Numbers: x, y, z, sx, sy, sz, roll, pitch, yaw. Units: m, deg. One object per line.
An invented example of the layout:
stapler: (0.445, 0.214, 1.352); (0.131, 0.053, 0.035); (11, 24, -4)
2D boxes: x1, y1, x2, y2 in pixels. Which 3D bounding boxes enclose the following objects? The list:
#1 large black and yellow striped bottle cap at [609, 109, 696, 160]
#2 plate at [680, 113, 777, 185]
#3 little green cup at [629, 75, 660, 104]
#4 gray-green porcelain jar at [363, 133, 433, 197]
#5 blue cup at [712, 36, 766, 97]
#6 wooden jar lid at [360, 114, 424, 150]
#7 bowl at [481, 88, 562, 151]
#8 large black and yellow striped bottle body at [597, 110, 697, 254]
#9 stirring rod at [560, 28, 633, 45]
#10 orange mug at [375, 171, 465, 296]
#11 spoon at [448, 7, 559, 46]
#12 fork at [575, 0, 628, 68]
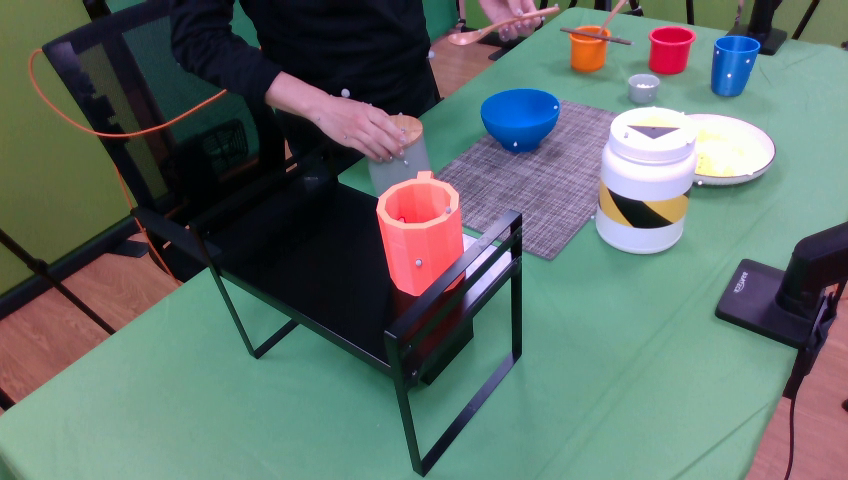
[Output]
large black and yellow striped bottle cap: (0.320, -0.150, 0.849); (0.115, 0.019, 0.114); (-4, 39, 3)
plate: (0.506, -0.158, 1.073); (0.209, 0.038, 0.208); (-5, 40, 4)
little green cup: (0.458, -0.314, 1.260); (0.061, 0.039, 0.061); (-4, 40, 4)
gray-green porcelain jar: (-0.042, -0.128, 1.052); (0.106, 0.127, 0.105); (-8, 38, 7)
blue cup: (0.627, -0.350, 1.227); (0.092, 0.100, 0.092); (-4, 39, 4)
wooden jar lid: (-0.053, -0.176, 1.014); (0.108, 0.021, 0.108); (-7, 39, 6)
bowl: (0.187, -0.223, 1.161); (0.151, 0.077, 0.150); (-4, 40, 4)
large black and yellow striped bottle body: (0.331, -0.086, 0.904); (0.131, 0.185, 0.130); (-5, 41, 4)
stirring rod: (0.381, -0.452, 1.345); (0.174, 0.006, 0.014); (26, 49, 33)
orange mug: (0.000, -0.016, 0.661); (0.083, 0.101, 0.125); (-2, 45, 8)
spoon: (0.136, -0.371, 1.044); (0.193, 0.022, 0.041); (-15, 41, 15)
fork: (0.413, -0.481, 1.377); (0.207, 0.019, 0.028); (-57, 43, 12)
